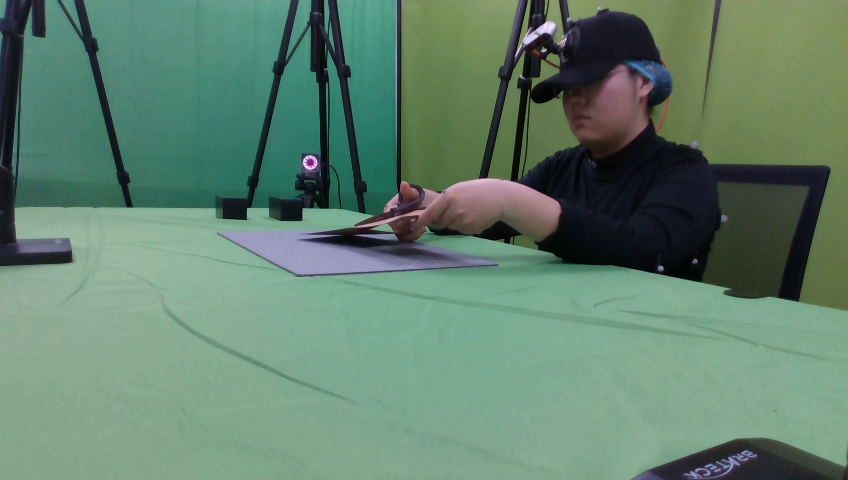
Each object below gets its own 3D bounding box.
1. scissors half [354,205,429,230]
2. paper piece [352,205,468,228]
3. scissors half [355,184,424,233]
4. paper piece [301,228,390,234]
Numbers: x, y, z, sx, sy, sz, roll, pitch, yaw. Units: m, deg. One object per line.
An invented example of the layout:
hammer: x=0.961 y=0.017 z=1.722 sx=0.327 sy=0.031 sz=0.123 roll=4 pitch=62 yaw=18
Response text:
scissors half: x=-0.051 y=-0.033 z=1.022 sx=0.012 sy=0.040 sz=0.176 roll=-7 pitch=3 yaw=45
paper piece: x=-0.022 y=-0.038 z=0.941 sx=0.136 sy=0.008 sz=0.137 roll=-21 pitch=13 yaw=-36
scissors half: x=-0.057 y=-0.053 z=1.019 sx=0.013 sy=0.040 sz=0.176 roll=-14 pitch=19 yaw=45
paper piece: x=-0.129 y=-0.014 z=1.046 sx=0.135 sy=0.004 sz=0.136 roll=-3 pitch=-3 yaw=36
